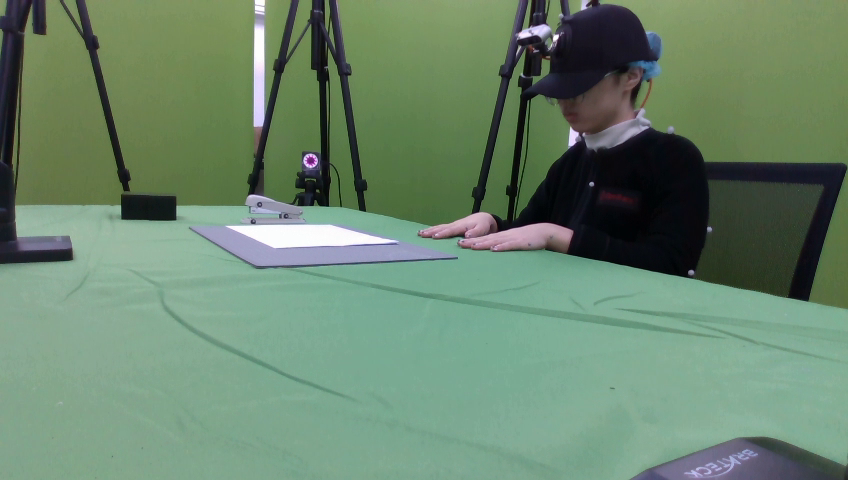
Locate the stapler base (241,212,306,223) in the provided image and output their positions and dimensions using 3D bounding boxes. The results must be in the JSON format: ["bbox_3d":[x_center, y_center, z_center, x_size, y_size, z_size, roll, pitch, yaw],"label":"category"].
[{"bbox_3d":[-0.316,-0.048,1.272,0.131,0.024,0.041,0,10,-31],"label":"stapler base"}]

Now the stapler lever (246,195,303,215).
[{"bbox_3d":[-0.313,-0.073,1.270,0.119,0.040,0.026,0,10,-31],"label":"stapler lever"}]
